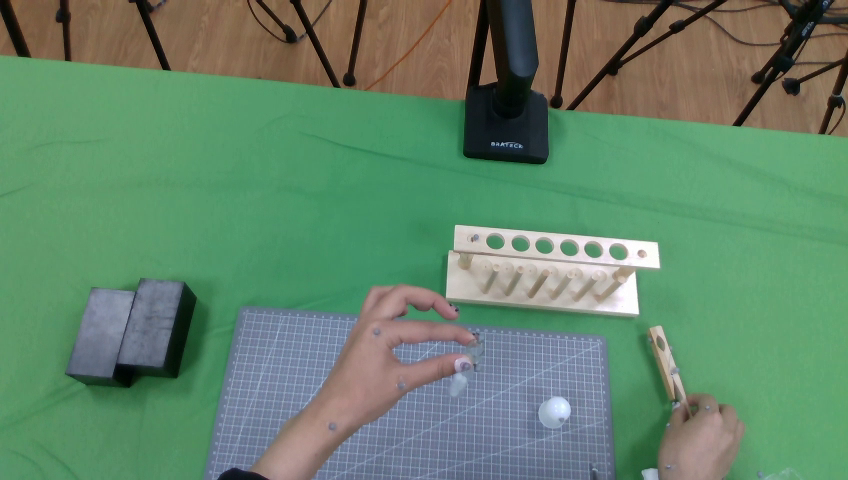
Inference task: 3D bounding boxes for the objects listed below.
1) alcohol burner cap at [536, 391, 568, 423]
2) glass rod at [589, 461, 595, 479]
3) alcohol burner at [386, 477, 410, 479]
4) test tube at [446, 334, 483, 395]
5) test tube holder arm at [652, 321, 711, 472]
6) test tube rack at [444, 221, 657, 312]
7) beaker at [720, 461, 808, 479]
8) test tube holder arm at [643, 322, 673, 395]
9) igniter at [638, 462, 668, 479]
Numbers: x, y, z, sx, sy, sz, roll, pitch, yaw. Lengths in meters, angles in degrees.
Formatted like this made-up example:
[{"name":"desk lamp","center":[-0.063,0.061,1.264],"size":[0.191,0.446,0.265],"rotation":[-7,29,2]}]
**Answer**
[{"name":"alcohol burner cap","center":[0.148,0.189,0.690],"size":[0.034,0.048,0.033],"rotation":[2,65,-4]},{"name":"glass rod","center":[0.183,0.339,0.642],"size":[0.008,0.008,0.198],"rotation":[5,65,-3]},{"name":"alcohol burner","center":[-0.026,0.273,0.597],"size":[0.078,0.120,0.077],"rotation":[2,63,-3]},{"name":"test tube","center":[0.035,0.118,0.556],"size":[0.017,0.151,0.017],"rotation":[2,62,-4]},{"name":"test tube holder arm","center":[0.302,0.183,0.719],"size":[0.013,0.015,0.177],"rotation":[-14,69,-1]},{"name":"test tube rack","center":[0.149,0.035,0.740],"size":[0.242,0.086,0.066],"rotation":[5,65,-2]},{"name":"beaker","center":[0.353,0.279,0.636],"size":[0.074,0.101,0.083],"rotation":[17,64,4]},{"name":"test tube holder arm","center":[0.286,0.143,0.735],"size":[0.010,0.015,0.087],"rotation":[-14,69,-1]},{"name":"igniter","center":[0.247,0.375,0.623],"size":[0.057,0.025,0.274],"rotation":[10,65,-11]}]
